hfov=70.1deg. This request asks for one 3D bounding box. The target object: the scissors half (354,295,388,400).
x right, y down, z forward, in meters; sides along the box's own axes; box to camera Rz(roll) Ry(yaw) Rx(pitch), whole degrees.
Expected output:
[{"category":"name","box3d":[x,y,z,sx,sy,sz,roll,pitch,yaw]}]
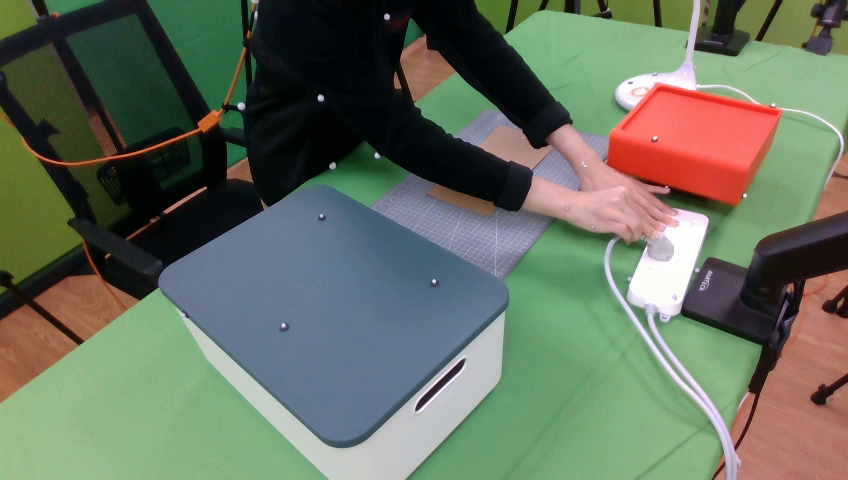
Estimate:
[{"category":"scissors half","box3d":[-0.068,0.142,0.818,0.040,0.013,0.174,-20,44,0]}]

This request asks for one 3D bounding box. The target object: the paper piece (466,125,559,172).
[{"category":"paper piece","box3d":[0.172,-0.177,1.167,0.137,0.009,0.136,21,44,30]}]

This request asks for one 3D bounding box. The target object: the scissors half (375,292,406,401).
[{"category":"scissors half","box3d":[-0.048,0.139,0.817,0.040,0.013,0.174,-4,46,9]}]

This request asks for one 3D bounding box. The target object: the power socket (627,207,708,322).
[{"category":"power socket","box3d":[0.360,0.026,0.887,0.072,0.033,0.227,16,45,26]}]

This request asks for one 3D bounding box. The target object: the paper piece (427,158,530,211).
[{"category":"paper piece","box3d":[0.098,-0.104,1.089,0.134,0.004,0.136,21,45,32]}]

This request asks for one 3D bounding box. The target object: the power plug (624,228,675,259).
[{"category":"power plug","box3d":[0.328,0.006,0.879,0.072,0.053,0.035,27,50,33]}]

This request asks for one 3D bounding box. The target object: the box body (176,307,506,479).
[{"category":"box body","box3d":[-0.105,0.111,0.751,0.361,0.161,0.255,28,52,35]}]

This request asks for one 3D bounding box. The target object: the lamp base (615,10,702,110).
[{"category":"lamp base","box3d":[0.485,-0.363,1.211,0.180,0.181,0.159,-15,41,-14]}]

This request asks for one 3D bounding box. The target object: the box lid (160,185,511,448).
[{"category":"box lid","box3d":[-0.114,0.055,0.705,0.368,0.015,0.264,28,51,34]}]

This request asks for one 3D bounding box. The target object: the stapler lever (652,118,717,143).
[{"category":"stapler lever","box3d":[0.436,-0.192,1.014,0.118,0.040,0.026,-15,24,-16]}]

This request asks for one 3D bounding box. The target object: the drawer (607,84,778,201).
[{"category":"drawer","box3d":[0.439,-0.166,0.996,0.210,0.073,0.195,23,48,30]}]

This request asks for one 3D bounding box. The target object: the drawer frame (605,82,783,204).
[{"category":"drawer frame","box3d":[0.442,-0.167,0.995,0.212,0.083,0.202,23,48,29]}]

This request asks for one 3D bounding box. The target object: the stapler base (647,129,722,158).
[{"category":"stapler base","box3d":[0.439,-0.167,1.024,0.131,0.024,0.041,-16,25,-15]}]
